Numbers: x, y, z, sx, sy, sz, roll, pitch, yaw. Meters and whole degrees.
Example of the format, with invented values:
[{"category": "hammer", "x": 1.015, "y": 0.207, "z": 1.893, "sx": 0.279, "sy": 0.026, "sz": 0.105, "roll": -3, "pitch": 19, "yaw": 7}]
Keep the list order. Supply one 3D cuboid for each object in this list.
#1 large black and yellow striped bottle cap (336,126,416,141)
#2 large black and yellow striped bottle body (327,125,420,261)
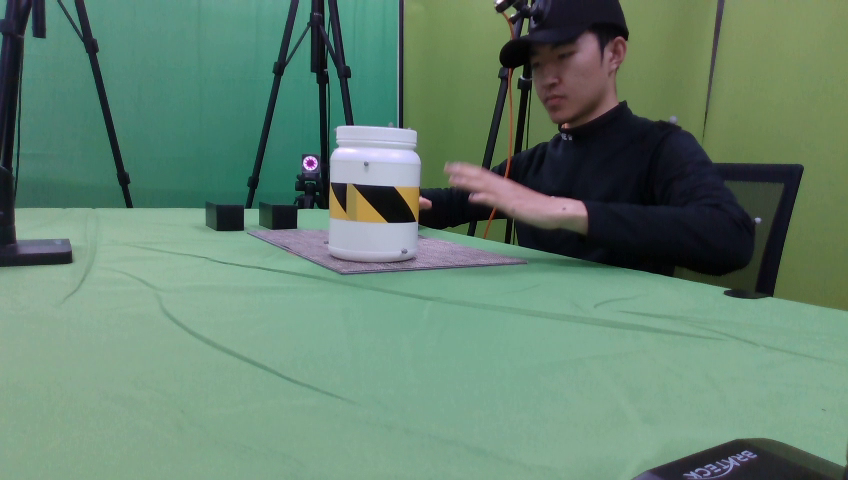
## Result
[{"category": "large black and yellow striped bottle cap", "x": -0.068, "y": -0.150, "z": 0.860, "sx": 0.115, "sy": 0.019, "sz": 0.115, "roll": 1, "pitch": 6, "yaw": 0}, {"category": "large black and yellow striped bottle body", "x": -0.072, "y": -0.069, "z": 0.872, "sx": 0.131, "sy": 0.184, "sz": 0.130, "roll": 2, "pitch": 7, "yaw": 0}]
